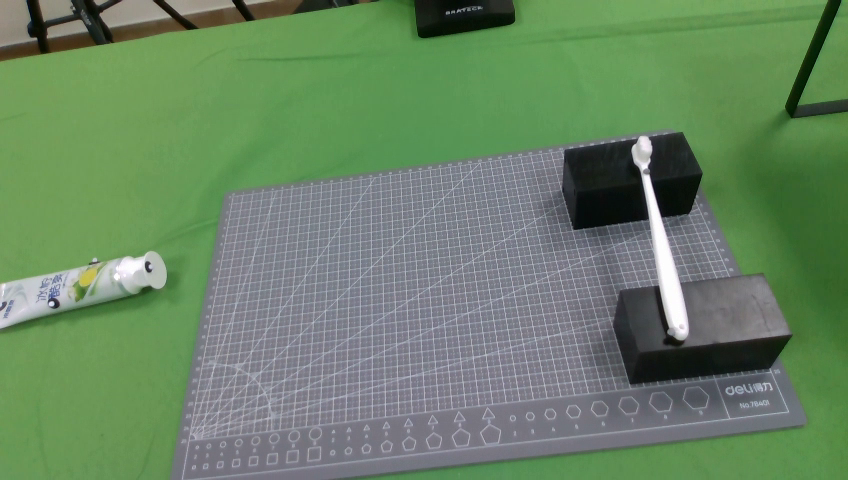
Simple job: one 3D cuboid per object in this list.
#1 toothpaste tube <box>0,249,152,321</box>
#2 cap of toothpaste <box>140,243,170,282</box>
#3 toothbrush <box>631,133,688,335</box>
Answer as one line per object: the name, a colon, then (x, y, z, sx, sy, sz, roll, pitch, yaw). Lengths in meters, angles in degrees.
toothpaste tube: (-0.320, 0.036, 0.555, 0.165, 0.035, 0.054, -13, 49, 4)
cap of toothpaste: (-0.243, 0.021, 0.546, 0.011, 0.038, 0.037, -13, 52, 4)
toothbrush: (0.174, -0.012, 0.450, 0.014, 0.017, 0.180, 7, 55, -4)
